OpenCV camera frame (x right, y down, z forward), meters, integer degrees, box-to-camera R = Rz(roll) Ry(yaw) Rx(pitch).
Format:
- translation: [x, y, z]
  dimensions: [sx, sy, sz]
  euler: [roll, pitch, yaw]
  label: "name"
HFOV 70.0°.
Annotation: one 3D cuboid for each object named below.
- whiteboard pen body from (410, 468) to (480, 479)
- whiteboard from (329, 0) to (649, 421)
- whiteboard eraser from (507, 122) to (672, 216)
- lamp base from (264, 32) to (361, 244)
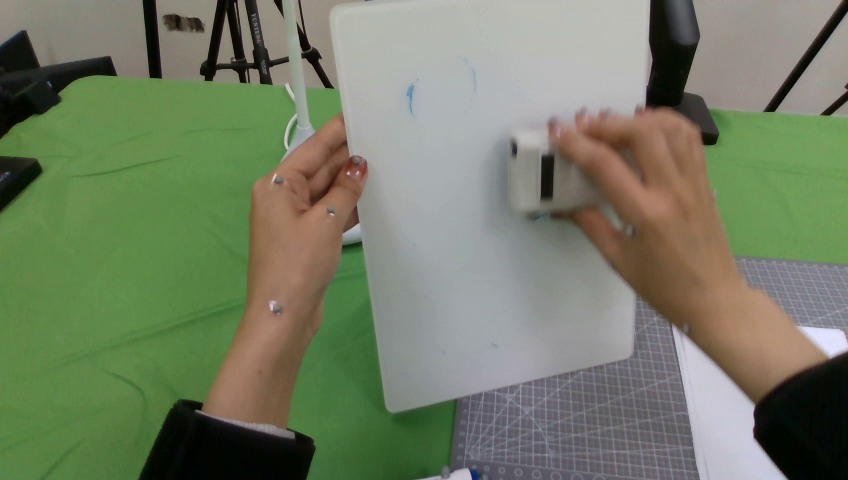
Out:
- translation: [-0.029, 0.177, 0.418]
  dimensions: [0.141, 0.017, 0.017]
  euler: [-7, 41, -10]
  label: "whiteboard pen body"
- translation: [0.047, -0.040, 0.501]
  dimensions: [0.217, 0.307, 0.142]
  euler: [-10, 22, -10]
  label: "whiteboard"
- translation: [0.113, -0.050, 0.422]
  dimensions: [0.113, 0.056, 0.041]
  euler: [-7, 24, -11]
  label: "whiteboard eraser"
- translation: [-0.107, -0.114, 0.637]
  dimensions: [0.161, 0.182, 0.177]
  euler: [-29, 46, -30]
  label: "lamp base"
